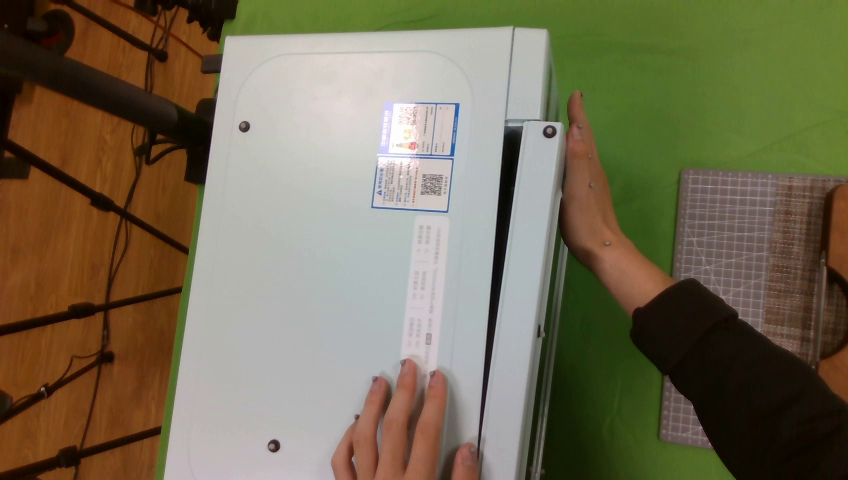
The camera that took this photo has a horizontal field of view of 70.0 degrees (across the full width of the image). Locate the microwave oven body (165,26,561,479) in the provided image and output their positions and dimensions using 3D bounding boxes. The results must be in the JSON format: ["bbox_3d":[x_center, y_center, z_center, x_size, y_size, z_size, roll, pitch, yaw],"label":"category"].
[{"bbox_3d":[-0.044,0.049,0.620,0.325,0.261,0.440,4,84,16],"label":"microwave oven body"}]

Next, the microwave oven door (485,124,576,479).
[{"bbox_3d":[0.100,0.099,0.568,0.039,0.245,0.355,6,84,17],"label":"microwave oven door"}]

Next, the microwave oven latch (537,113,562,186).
[{"bbox_3d":[0.142,-0.102,0.691,0.030,0.029,0.079,3,84,16],"label":"microwave oven latch"}]
